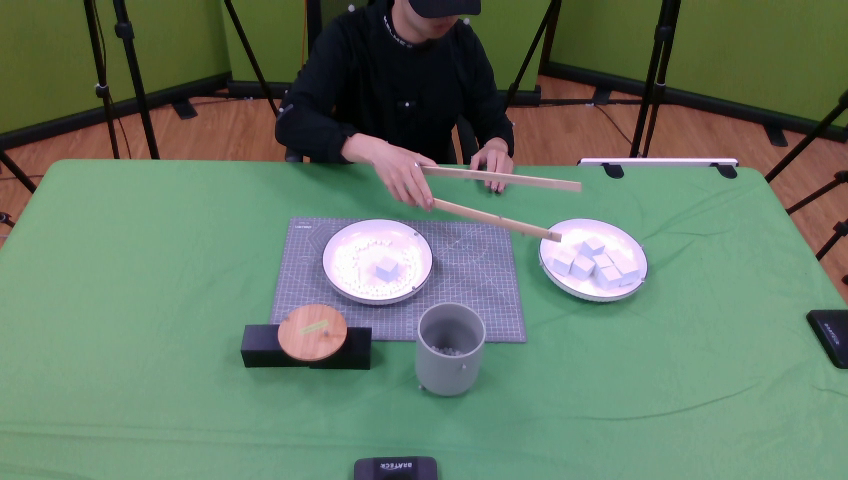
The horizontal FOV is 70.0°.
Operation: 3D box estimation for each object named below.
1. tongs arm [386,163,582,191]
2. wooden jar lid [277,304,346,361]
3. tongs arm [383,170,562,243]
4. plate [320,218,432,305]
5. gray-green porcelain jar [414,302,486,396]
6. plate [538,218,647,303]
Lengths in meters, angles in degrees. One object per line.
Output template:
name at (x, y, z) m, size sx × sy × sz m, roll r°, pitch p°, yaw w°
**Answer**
tongs arm at (0.111, -0.121, 1.182) m, size 0.387 × 0.028 × 0.028 m, roll 7°, pitch 60°, yaw 18°
wooden jar lid at (-0.179, 0.150, 0.972) m, size 0.108 × 0.021 × 0.107 m, roll 2°, pitch 45°, yaw -2°
tongs arm at (0.082, -0.067, 1.146) m, size 0.383 × 0.027 × 0.050 m, roll 16°, pitch 59°, yaw 24°
plate at (-0.089, 0.044, 1.134) m, size 0.209 × 0.038 × 0.208 m, roll 3°, pitch 46°, yaw -2°
gray-green porcelain jar at (0.038, 0.177, 0.958) m, size 0.106 × 0.127 × 0.105 m, roll 2°, pitch 46°, yaw -2°
plate at (0.322, 0.042, 1.171) m, size 0.208 × 0.039 × 0.206 m, roll 2°, pitch 46°, yaw -2°
